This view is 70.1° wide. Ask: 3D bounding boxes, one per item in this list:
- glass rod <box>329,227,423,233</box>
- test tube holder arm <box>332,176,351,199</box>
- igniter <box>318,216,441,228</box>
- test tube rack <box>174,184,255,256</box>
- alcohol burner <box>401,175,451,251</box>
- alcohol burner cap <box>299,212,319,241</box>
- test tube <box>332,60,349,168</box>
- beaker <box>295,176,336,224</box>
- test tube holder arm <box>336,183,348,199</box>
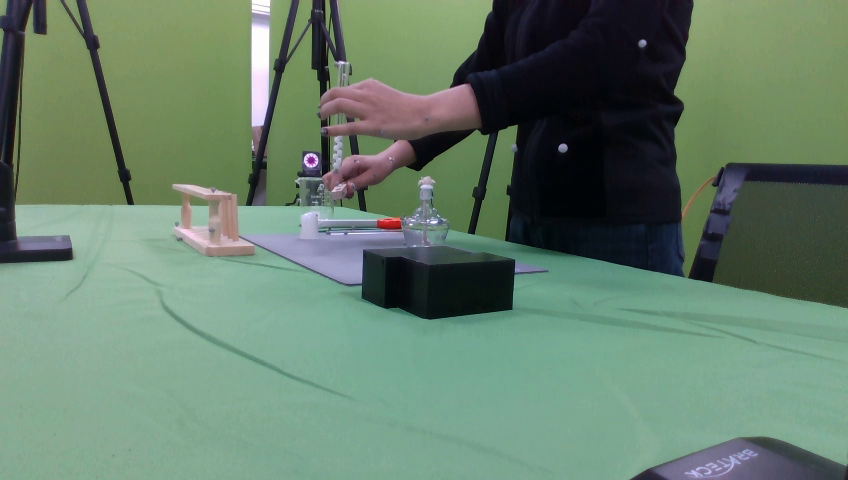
[{"bbox_3d":[-0.087,-0.019,1.148,0.201,0.008,0.008,-3,8,-32],"label":"glass rod"},{"bbox_3d":[-0.135,-0.088,0.991,0.013,0.015,0.178,-2,13,-1],"label":"test tube holder arm"},{"bbox_3d":[-0.090,-0.035,1.222,0.278,0.025,0.057,-2,-2,-32],"label":"igniter"},{"bbox_3d":[-0.327,-0.036,0.928,0.067,0.085,0.241,-2,9,-32],"label":"test tube rack"},{"bbox_3d":[0.003,-0.042,0.947,0.078,0.119,0.078,1,9,0],"label":"alcohol burner"},{"bbox_3d":[-0.195,-0.024,1.025,0.034,0.048,0.034,3,7,0],"label":"alcohol burner cap"},{"bbox_3d":[-0.118,-0.175,0.851,0.017,0.150,0.017,6,19,-2],"label":"test tube"},{"bbox_3d":[-0.224,-0.080,1.247,0.084,0.100,0.073,-1,8,-18],"label":"beaker"},{"bbox_3d":[-0.128,-0.078,0.947,0.010,0.015,0.087,-2,13,-1],"label":"test tube holder arm"}]
